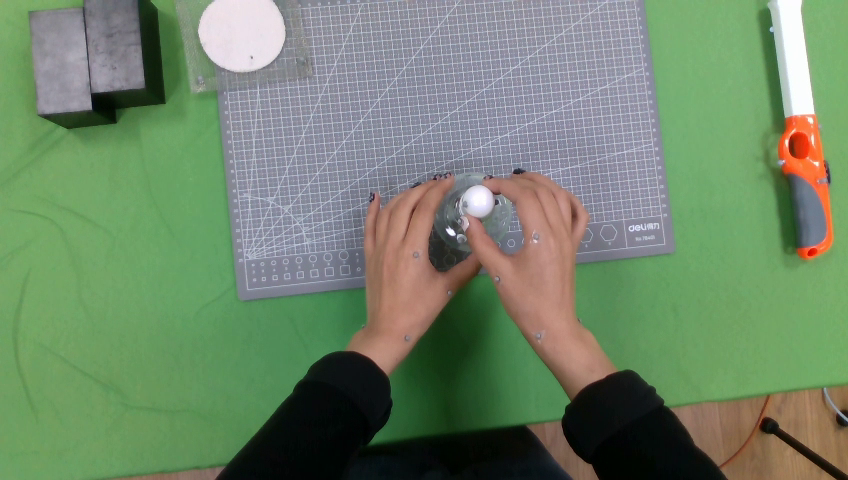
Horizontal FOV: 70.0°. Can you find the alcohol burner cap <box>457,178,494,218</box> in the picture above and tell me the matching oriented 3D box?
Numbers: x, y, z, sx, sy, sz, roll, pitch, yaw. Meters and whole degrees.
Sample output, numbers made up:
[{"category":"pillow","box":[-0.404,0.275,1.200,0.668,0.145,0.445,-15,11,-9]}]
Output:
[{"category":"alcohol burner cap","box":[0.046,-0.038,0.527,0.034,0.048,0.034,0,86,3]}]

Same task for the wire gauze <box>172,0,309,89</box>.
[{"category":"wire gauze","box":[-0.189,-0.220,0.613,0.125,0.011,0.121,-12,87,-3]}]

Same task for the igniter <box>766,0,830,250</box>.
[{"category":"igniter","box":[0.391,-0.128,0.635,0.057,0.025,0.276,-5,88,-14]}]

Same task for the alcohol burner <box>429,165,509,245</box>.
[{"category":"alcohol burner","box":[0.044,-0.035,0.567,0.078,0.119,0.077,0,85,-4]}]
